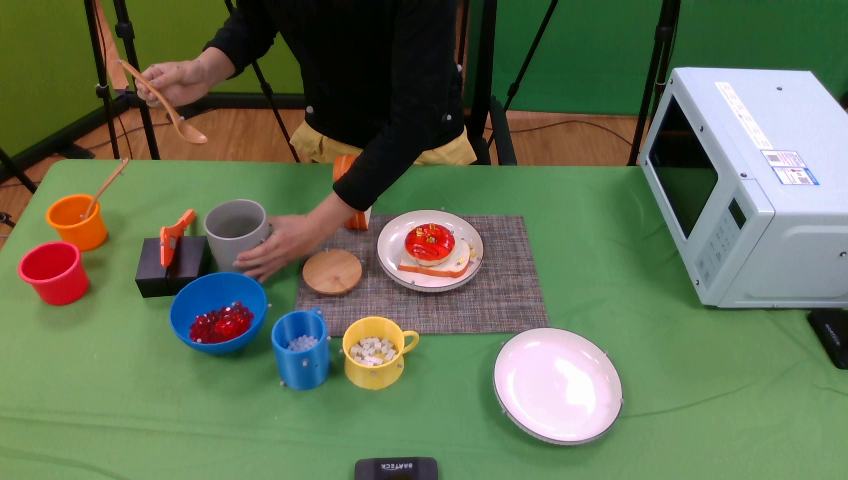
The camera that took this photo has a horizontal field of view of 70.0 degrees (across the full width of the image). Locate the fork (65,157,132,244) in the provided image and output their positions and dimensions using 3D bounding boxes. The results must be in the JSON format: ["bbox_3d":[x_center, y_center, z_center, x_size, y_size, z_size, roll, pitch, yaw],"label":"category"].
[{"bbox_3d":[-0.608,-0.074,1.133,0.207,0.019,0.028,-52,52,10],"label":"fork"}]

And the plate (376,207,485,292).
[{"bbox_3d":[0.012,0.020,1.159,0.209,0.038,0.208,2,47,-2],"label":"plate"}]

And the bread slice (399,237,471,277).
[{"bbox_3d":[0.025,0.025,1.161,0.131,0.019,0.104,7,47,8],"label":"bread slice"}]

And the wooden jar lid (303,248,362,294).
[{"bbox_3d":[-0.169,0.059,1.122,0.108,0.021,0.107,3,46,-2],"label":"wooden jar lid"}]

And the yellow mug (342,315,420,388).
[{"bbox_3d":[-0.068,0.177,0.991,0.131,0.064,0.099,-15,50,-19],"label":"yellow mug"}]

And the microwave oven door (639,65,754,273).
[{"bbox_3d":[0.522,-0.147,1.192,0.039,0.245,0.353,0,47,-3],"label":"microwave oven door"}]

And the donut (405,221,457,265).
[{"bbox_3d":[0.013,0.004,1.136,0.099,0.048,0.098,0,46,0],"label":"donut"}]

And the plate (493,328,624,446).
[{"bbox_3d":[0.213,0.236,0.974,0.208,0.039,0.206,2,46,-2],"label":"plate"}]

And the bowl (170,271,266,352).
[{"bbox_3d":[-0.333,0.132,1.006,0.151,0.077,0.150,2,46,-2],"label":"bowl"}]

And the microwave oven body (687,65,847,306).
[{"bbox_3d":[0.669,-0.111,1.176,0.326,0.261,0.439,0,46,-3],"label":"microwave oven body"}]

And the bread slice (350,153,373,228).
[{"bbox_3d":[-0.125,-0.104,1.207,0.018,0.135,0.106,0,48,6],"label":"bread slice"}]

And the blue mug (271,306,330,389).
[{"bbox_3d":[-0.188,0.163,0.969,0.082,0.106,0.116,15,47,10],"label":"blue mug"}]

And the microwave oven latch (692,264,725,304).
[{"bbox_3d":[0.522,0.081,1.116,0.030,0.029,0.078,1,46,-2],"label":"microwave oven latch"}]

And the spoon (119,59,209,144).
[{"bbox_3d":[-0.433,-0.229,1.008,0.194,0.021,0.041,49,32,-5],"label":"spoon"}]

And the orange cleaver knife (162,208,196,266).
[{"bbox_3d":[-0.454,-0.010,1.129,0.012,0.077,0.210,-1,17,-6],"label":"orange cleaver knife"}]

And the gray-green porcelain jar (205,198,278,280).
[{"bbox_3d":[-0.324,0.005,1.093,0.106,0.127,0.105,-1,46,1],"label":"gray-green porcelain jar"}]
